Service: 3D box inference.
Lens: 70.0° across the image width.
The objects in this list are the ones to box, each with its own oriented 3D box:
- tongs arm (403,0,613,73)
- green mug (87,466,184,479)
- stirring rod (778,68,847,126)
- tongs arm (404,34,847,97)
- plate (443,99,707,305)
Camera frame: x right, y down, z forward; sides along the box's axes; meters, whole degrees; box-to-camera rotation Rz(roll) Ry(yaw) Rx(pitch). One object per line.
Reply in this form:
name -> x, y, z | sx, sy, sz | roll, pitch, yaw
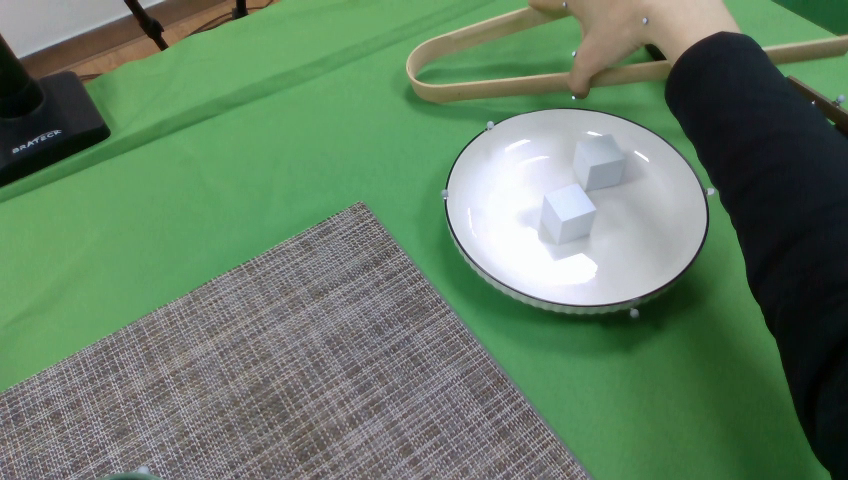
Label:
tongs arm -> 0.167, -0.225, 0.589 | 0.384, 0.027, 0.050 | -11, 64, 8
green mug -> -0.127, 0.171, 0.325 | 0.125, 0.106, 0.091 | -11, 54, -5
stirring rod -> 0.354, -0.086, 0.477 | 0.006, 0.014, 0.174 | -27, 57, -19
tongs arm -> 0.170, -0.161, 0.557 | 0.386, 0.028, 0.028 | -2, 69, 13
plate -> 0.120, -0.033, 0.501 | 0.207, 0.039, 0.205 | -1, 55, 2
